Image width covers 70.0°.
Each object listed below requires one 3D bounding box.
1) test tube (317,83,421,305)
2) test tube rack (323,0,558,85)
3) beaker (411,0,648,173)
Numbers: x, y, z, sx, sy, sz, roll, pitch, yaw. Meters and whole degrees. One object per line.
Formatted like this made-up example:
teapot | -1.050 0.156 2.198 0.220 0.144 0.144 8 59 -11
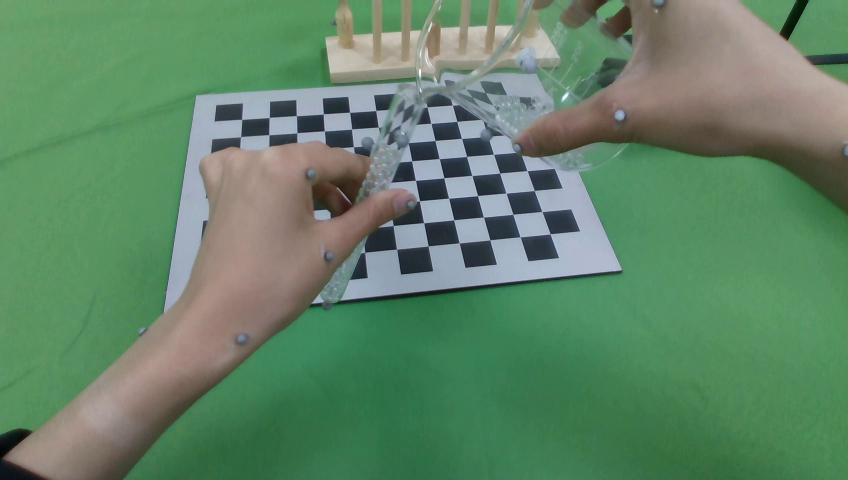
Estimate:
test tube | -0.034 -0.017 0.331 0.017 0.151 0.017 16 37 -13
test tube rack | 0.018 -0.223 0.619 0.243 0.086 0.066 -7 50 -8
beaker | 0.053 -0.080 0.296 0.101 0.084 0.073 25 31 -37
